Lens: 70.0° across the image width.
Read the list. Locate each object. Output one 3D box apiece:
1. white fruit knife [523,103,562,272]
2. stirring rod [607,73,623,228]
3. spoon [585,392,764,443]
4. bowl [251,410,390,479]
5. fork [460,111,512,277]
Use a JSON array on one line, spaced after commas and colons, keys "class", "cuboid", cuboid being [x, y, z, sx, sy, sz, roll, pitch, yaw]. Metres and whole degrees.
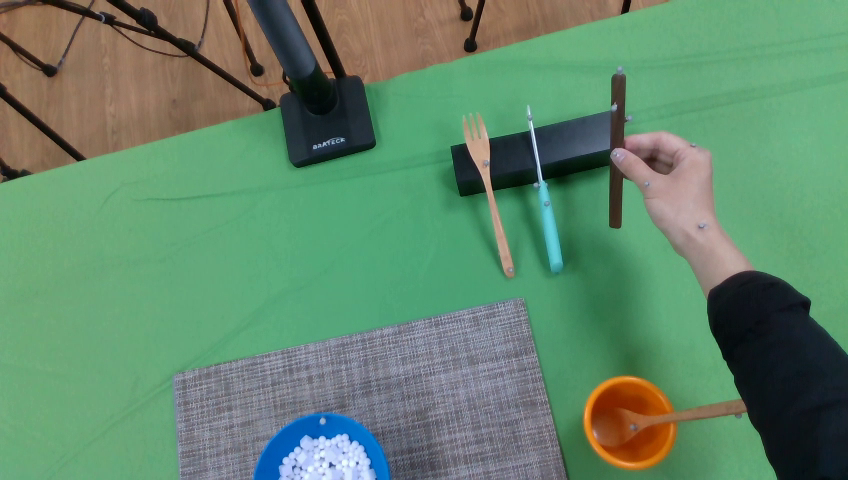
[{"class": "white fruit knife", "cuboid": [0.140, -0.063, 0.732, 0.016, 0.027, 0.207, -11, 89, 1]}, {"class": "stirring rod", "cuboid": [0.197, -0.087, 0.626, 0.014, 0.178, 0.006, 6, 37, 24]}, {"class": "spoon", "cuboid": [0.245, 0.177, 0.613, 0.022, 0.193, 0.041, 5, 68, -37]}, {"class": "bowl", "cuboid": [-0.105, 0.266, 0.669, 0.151, 0.077, 0.150, -2, 73, 8]}, {"class": "fork", "cuboid": [0.079, -0.054, 0.739, 0.028, 0.018, 0.207, -14, 92, 0]}]
